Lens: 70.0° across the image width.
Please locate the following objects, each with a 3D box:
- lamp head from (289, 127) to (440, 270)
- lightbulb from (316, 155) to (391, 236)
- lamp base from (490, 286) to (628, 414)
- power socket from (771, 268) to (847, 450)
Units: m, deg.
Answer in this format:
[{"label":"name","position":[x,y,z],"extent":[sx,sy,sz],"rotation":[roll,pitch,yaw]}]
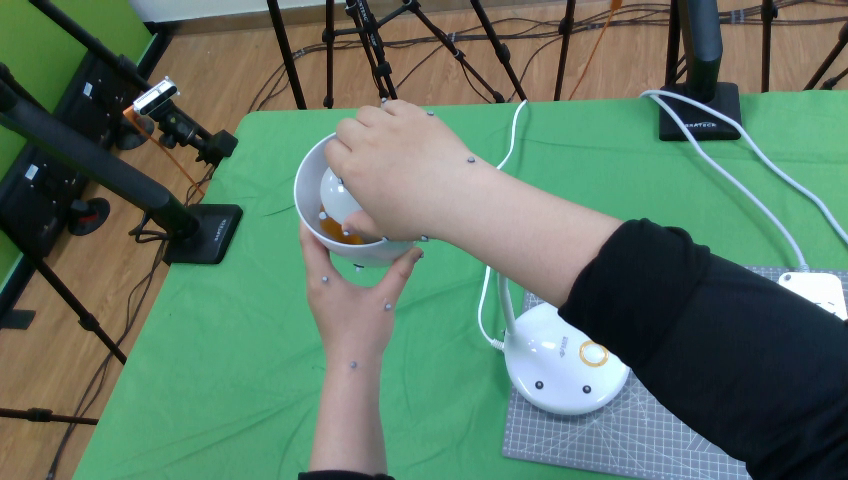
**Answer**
[{"label":"lamp head","position":[-0.044,-0.022,0.535],"extent":[0.112,0.124,0.111],"rotation":[-4,66,9]},{"label":"lightbulb","position":[-0.053,-0.030,0.507],"extent":[0.059,0.108,0.059],"rotation":[-2,70,7]},{"label":"lamp base","position":[0.153,0.109,0.739],"extent":[0.178,0.182,0.159],"rotation":[-4,56,18]},{"label":"power socket","position":[0.466,0.132,0.722],"extent":[0.072,0.033,0.225],"rotation":[2,57,17]}]
